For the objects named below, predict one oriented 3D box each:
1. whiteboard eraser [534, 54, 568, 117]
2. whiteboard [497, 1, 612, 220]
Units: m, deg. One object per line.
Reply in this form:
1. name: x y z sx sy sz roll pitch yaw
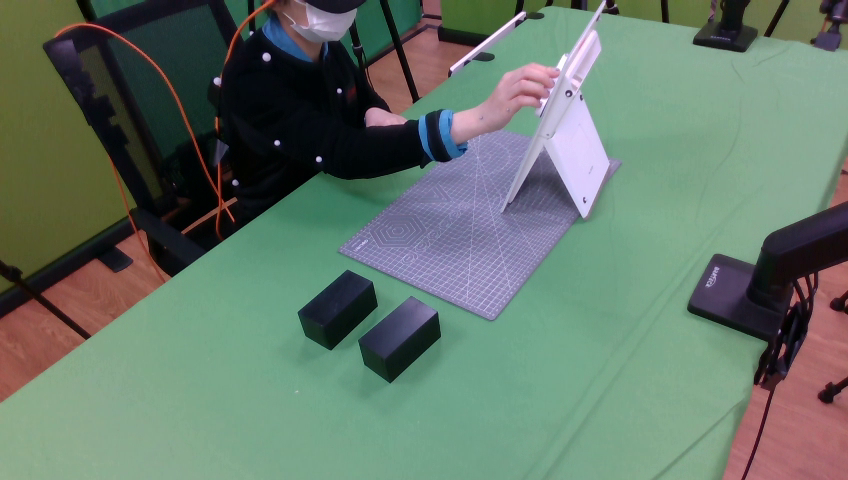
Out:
1. whiteboard eraser: 0.193 -0.231 0.910 0.019 0.041 0.101 27 88 9
2. whiteboard: 0.260 -0.177 0.963 0.143 0.306 0.217 28 49 9
